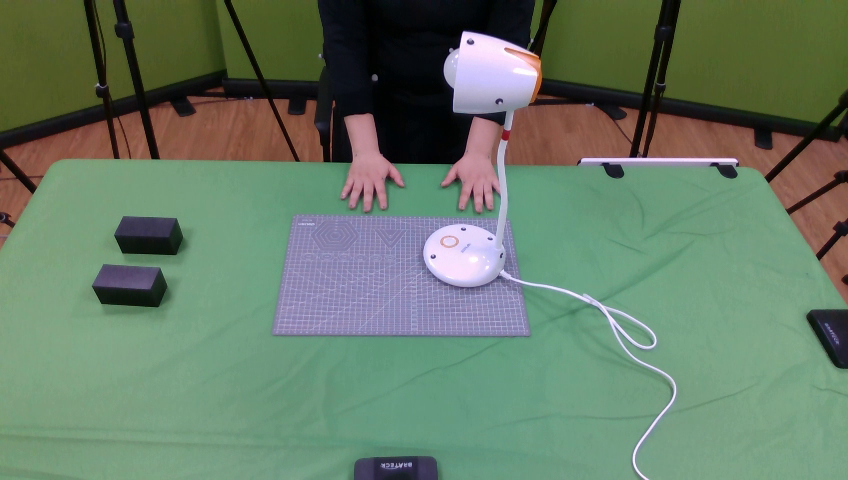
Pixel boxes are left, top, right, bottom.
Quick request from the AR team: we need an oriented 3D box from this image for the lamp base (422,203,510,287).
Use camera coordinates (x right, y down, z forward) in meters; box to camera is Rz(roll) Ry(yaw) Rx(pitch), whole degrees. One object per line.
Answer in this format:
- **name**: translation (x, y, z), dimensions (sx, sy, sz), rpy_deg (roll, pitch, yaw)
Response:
- **lamp base**: translation (0.092, -0.021, 1.111), dimensions (0.179, 0.181, 0.160), rpy_deg (23, 49, 14)

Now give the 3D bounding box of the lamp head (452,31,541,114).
- **lamp head**: translation (0.102, -0.228, 0.858), dimensions (0.123, 0.113, 0.112), rpy_deg (11, 46, 0)
